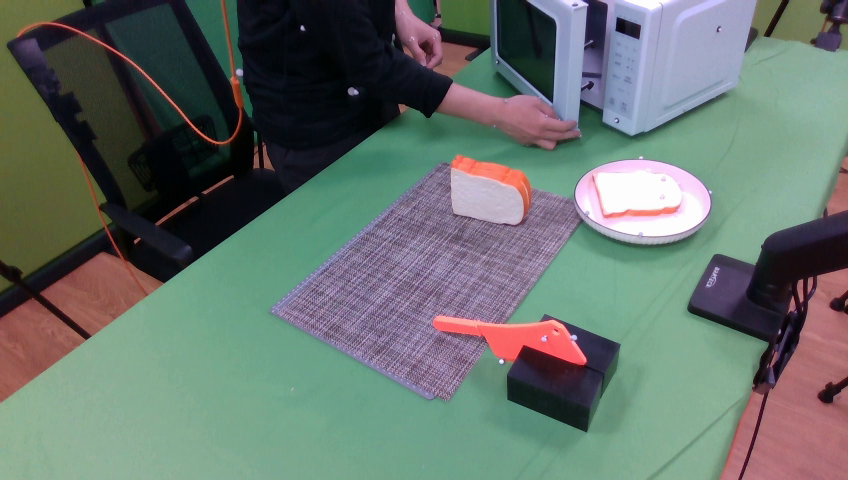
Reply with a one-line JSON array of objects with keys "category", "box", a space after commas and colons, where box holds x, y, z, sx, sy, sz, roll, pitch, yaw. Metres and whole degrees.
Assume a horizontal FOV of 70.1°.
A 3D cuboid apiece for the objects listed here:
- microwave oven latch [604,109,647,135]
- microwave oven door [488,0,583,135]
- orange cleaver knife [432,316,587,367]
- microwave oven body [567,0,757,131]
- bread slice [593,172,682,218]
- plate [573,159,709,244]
[{"category": "microwave oven latch", "box": [0.378, -0.225, 1.140, 0.030, 0.029, 0.078, -26, 43, -20]}, {"category": "microwave oven door", "box": [0.214, -0.398, 1.208, 0.039, 0.245, 0.353, -17, 41, -11]}, {"category": "orange cleaver knife", "box": [0.101, 0.127, 0.761, 0.210, 0.077, 0.012, -1, 34, 40]}, {"category": "microwave oven body", "box": [0.396, -0.448, 1.248, 0.327, 0.261, 0.437, -27, 44, -21]}, {"category": "bread slice", "box": [0.351, -0.076, 0.995, 0.134, 0.018, 0.106, -4, 44, 1]}, {"category": "plate", "box": [0.347, -0.059, 0.979, 0.207, 0.039, 0.206, -4, 41, 4]}]
